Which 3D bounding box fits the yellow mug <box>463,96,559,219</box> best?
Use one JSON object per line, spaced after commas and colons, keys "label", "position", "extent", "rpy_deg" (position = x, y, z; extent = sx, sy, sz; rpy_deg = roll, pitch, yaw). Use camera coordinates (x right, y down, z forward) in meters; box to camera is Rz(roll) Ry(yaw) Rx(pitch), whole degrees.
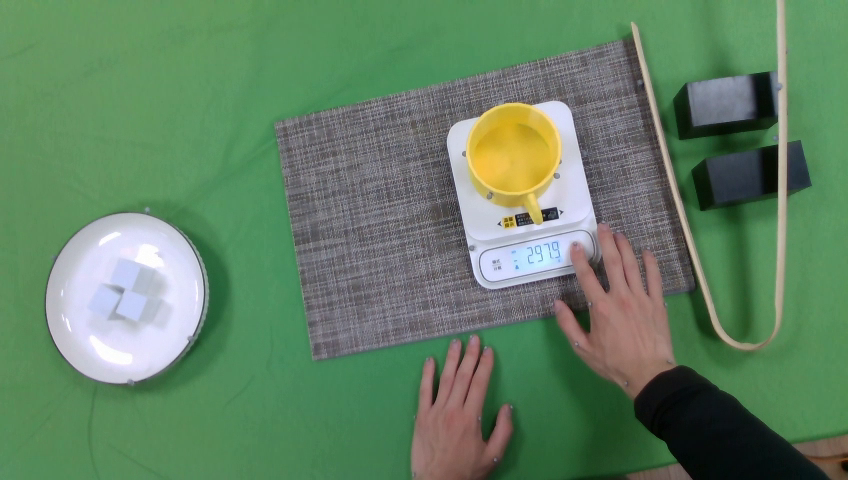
{"label": "yellow mug", "position": [0.099, -0.084, 0.655], "extent": [0.100, 0.064, 0.130], "rpy_deg": [-22, 83, 3]}

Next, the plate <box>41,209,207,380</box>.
{"label": "plate", "position": [-0.362, 0.066, 0.744], "extent": [0.207, 0.039, 0.207], "rpy_deg": [-1, 84, 6]}

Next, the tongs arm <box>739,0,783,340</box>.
{"label": "tongs arm", "position": [0.351, -0.087, 0.635], "extent": [0.050, 0.027, 0.384], "rpy_deg": [-2, 90, 34]}

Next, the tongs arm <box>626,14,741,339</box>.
{"label": "tongs arm", "position": [0.285, -0.077, 0.683], "extent": [0.028, 0.028, 0.386], "rpy_deg": [-18, 81, 30]}

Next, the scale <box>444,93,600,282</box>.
{"label": "scale", "position": [0.112, -0.061, 0.699], "extent": [0.148, 0.031, 0.200], "rpy_deg": [-12, 83, 6]}
